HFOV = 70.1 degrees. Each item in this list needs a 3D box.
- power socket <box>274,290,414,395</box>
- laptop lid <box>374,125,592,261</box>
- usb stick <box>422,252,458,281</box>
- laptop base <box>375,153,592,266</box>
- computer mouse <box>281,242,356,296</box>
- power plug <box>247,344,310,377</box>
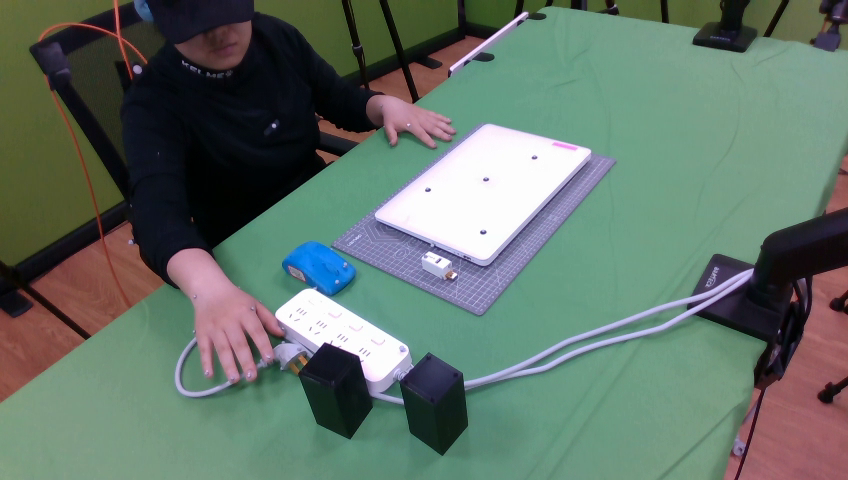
[{"bbox_3d":[-0.114,0.134,0.820,0.225,0.033,0.072,25,49,33],"label":"power socket"},{"bbox_3d":[0.109,-0.101,1.057,0.239,0.013,0.358,23,48,34],"label":"laptop lid"},{"bbox_3d":[0.025,0.042,0.908,0.058,0.027,0.021,27,49,31],"label":"usb stick"},{"bbox_3d":[0.112,-0.091,1.063,0.233,0.023,0.355,21,47,34],"label":"laptop base"},{"bbox_3d":[-0.164,0.041,0.934,0.116,0.041,0.063,27,48,28],"label":"computer mouse"},{"bbox_3d":[-0.187,0.169,0.797,0.072,0.035,0.052,-42,69,-6],"label":"power plug"}]
